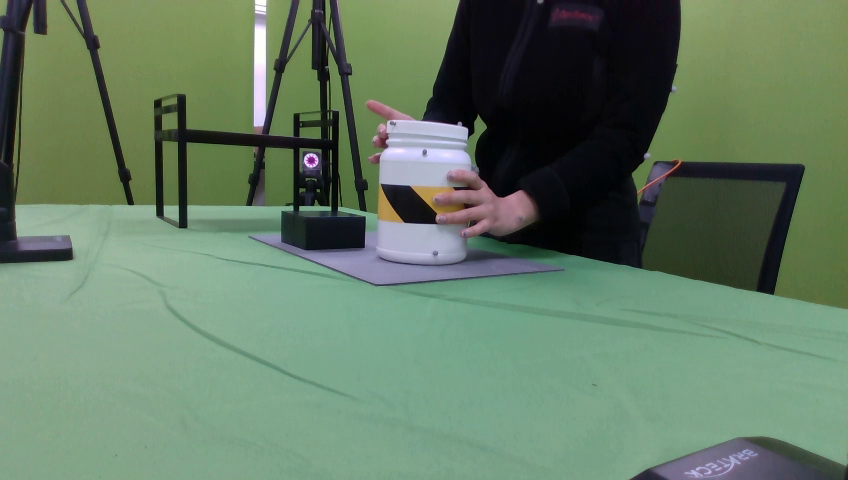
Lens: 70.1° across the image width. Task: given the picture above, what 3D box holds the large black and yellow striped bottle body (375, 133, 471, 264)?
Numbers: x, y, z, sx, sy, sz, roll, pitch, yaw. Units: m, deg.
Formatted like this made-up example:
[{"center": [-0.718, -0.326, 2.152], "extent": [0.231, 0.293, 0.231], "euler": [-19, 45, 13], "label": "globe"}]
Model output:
[{"center": [0.000, -0.066, 0.851], "extent": [0.131, 0.184, 0.130], "euler": [2, 7, 0], "label": "large black and yellow striped bottle body"}]

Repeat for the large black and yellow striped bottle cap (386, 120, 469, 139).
[{"center": [0.005, -0.153, 0.839], "extent": [0.115, 0.019, 0.115], "euler": [3, 7, 0], "label": "large black and yellow striped bottle cap"}]
